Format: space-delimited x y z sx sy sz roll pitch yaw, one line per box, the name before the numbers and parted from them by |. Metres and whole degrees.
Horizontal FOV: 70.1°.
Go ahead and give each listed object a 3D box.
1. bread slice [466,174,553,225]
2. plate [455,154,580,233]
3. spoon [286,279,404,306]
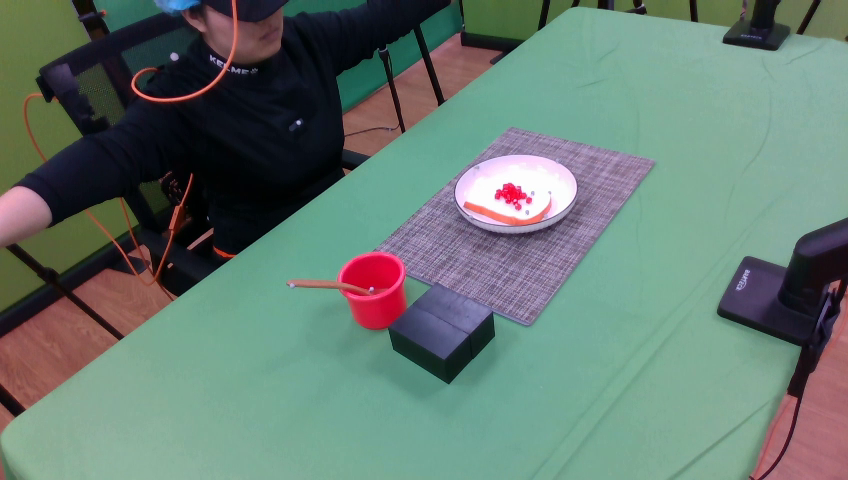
bread slice | 0.152 -0.067 1.022 0.130 0.019 0.105 23 50 33
plate | 0.158 -0.076 1.028 0.209 0.038 0.208 -5 40 5
spoon | -0.104 0.068 0.832 0.195 0.021 0.041 17 21 -43
